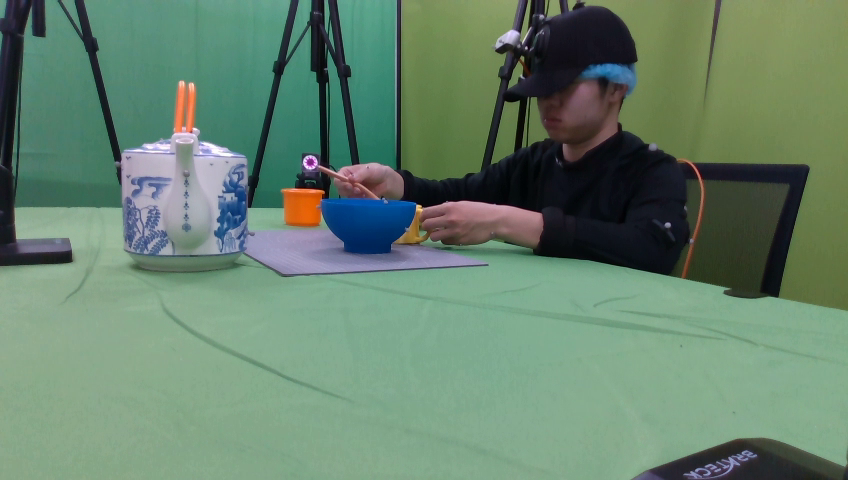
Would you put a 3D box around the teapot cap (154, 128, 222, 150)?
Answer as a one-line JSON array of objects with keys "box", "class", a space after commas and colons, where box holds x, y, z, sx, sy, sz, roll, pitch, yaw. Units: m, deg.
[{"box": [-0.294, -0.117, 0.754, 0.085, 0.044, 0.085, 4, 9, 0], "class": "teapot cap"}]

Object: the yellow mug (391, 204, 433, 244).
[{"box": [-0.042, -0.030, 1.070, 0.130, 0.064, 0.100, 7, 9, 27], "class": "yellow mug"}]

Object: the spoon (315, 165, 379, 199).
[{"box": [-0.113, -0.091, 1.095, 0.193, 0.021, 0.042, 32, 13, 6], "class": "spoon"}]

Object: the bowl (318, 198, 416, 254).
[{"box": [-0.089, -0.022, 0.941, 0.151, 0.077, 0.151, 2, 7, 0], "class": "bowl"}]

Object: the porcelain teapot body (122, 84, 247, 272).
[{"box": [-0.286, -0.075, 0.733, 0.146, 0.225, 0.204, 0, 8, -24], "class": "porcelain teapot body"}]
